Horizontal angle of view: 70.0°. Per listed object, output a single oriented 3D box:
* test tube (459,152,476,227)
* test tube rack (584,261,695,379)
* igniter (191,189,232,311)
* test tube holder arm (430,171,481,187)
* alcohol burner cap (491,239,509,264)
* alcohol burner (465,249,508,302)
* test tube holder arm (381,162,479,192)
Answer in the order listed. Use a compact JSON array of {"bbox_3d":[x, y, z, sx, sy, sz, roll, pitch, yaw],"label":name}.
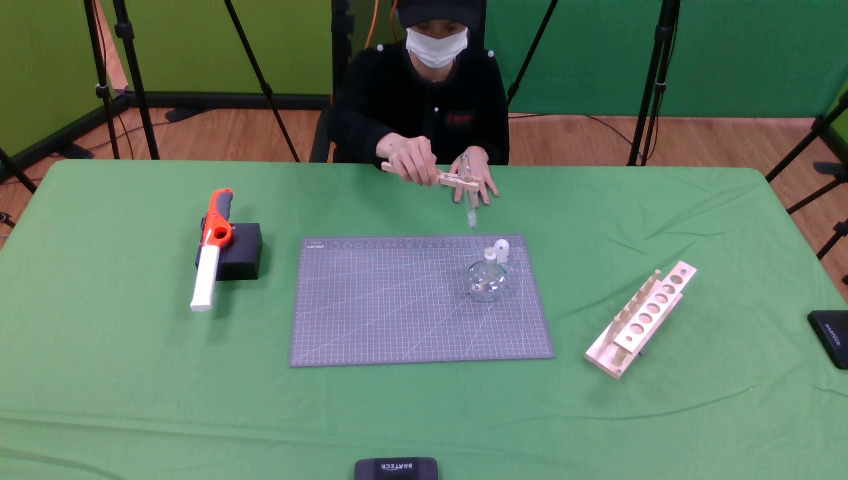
[{"bbox_3d":[0.073,-0.079,0.998,0.017,0.151,0.017,-6,43,6],"label":"test tube"},{"bbox_3d":[0.380,0.127,1.062,0.066,0.085,0.242,34,53,26],"label":"test tube rack"},{"bbox_3d":[-0.381,0.008,1.092,0.057,0.025,0.274,-1,50,-7],"label":"igniter"},{"bbox_3d":[0.050,-0.101,0.994,0.087,0.015,0.010,8,45,15],"label":"test tube holder arm"},{"bbox_3d":[0.150,0.020,1.174,0.034,0.048,0.033,2,46,-2],"label":"alcohol burner cap"},{"bbox_3d":[0.114,0.057,1.085,0.078,0.120,0.077,2,48,-2],"label":"alcohol burner"},{"bbox_3d":[0.007,-0.106,1.005,0.178,0.015,0.013,14,46,21],"label":"test tube holder arm"}]
